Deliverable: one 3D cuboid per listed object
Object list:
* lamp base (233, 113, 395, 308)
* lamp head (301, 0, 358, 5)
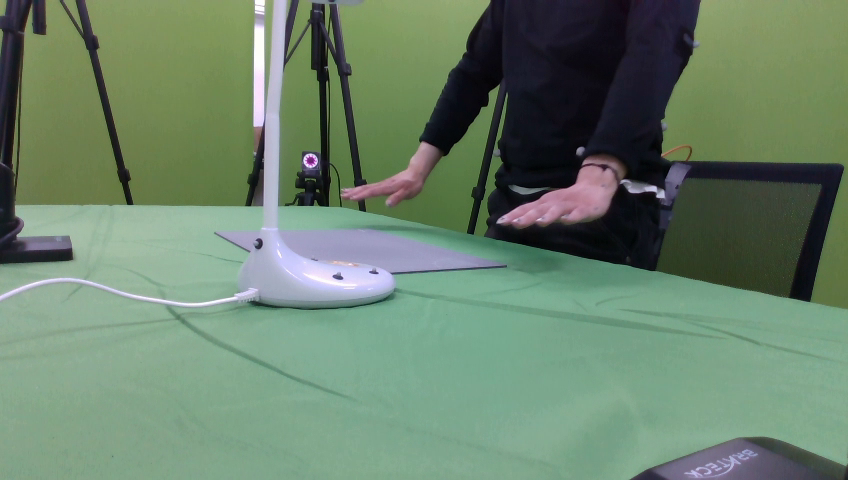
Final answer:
[{"bbox_3d":[-0.113,-0.033,0.600,0.160,0.180,0.180,6,11,28],"label":"lamp base"},{"bbox_3d":[-0.095,-0.314,0.610,0.112,0.123,0.112,-4,50,5],"label":"lamp head"}]
